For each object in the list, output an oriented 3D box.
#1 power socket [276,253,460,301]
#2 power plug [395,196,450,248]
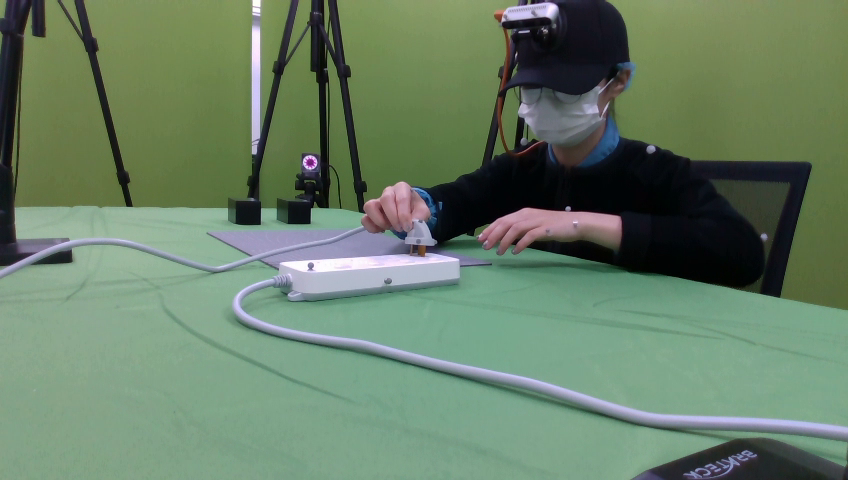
[{"bbox_3d":[-0.056,0.037,0.674,0.228,0.032,0.072,-3,8,-38],"label":"power socket"},{"bbox_3d":[-0.004,-0.025,0.726,0.053,0.072,0.035,22,-21,-22],"label":"power plug"}]
